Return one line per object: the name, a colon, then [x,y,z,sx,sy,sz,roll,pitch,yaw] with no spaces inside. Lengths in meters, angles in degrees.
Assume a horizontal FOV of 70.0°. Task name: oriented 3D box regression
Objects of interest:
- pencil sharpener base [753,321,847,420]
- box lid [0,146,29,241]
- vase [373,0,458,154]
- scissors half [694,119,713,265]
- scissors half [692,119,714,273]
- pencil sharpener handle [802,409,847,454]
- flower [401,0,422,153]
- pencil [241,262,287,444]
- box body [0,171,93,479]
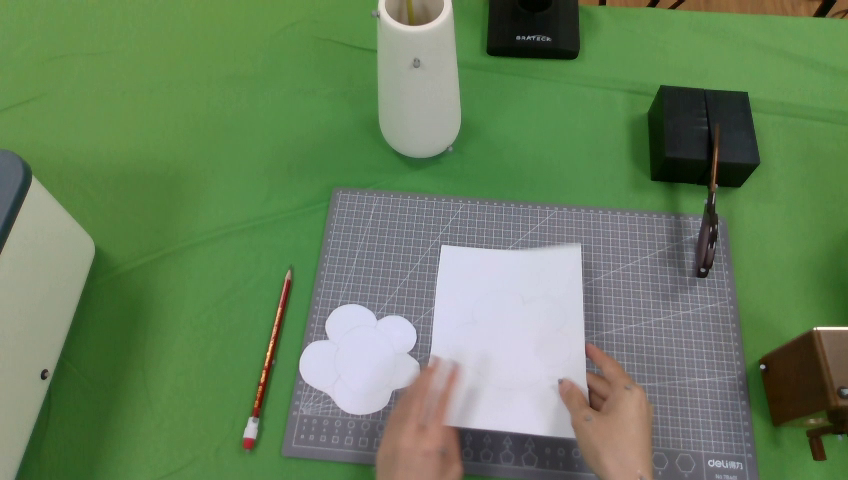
pencil sharpener base: [0.363,0.126,0.557,0.061,0.108,0.076,0,65,1]
box lid: [-0.496,0.070,0.475,0.263,0.015,0.368,5,64,2]
vase: [-0.011,-0.181,0.654,0.098,0.201,0.097,-1,63,2]
scissors half: [0.299,-0.056,0.638,0.013,0.040,0.174,8,65,15]
scissors half: [0.305,-0.049,0.657,0.012,0.040,0.174,7,83,21]
pencil sharpener handle: [0.359,0.167,0.524,0.036,0.068,0.030,6,64,-12]
flower: [-0.018,-0.230,0.585,0.044,0.365,0.038,-2,47,3]
pencil: [-0.161,0.110,0.623,0.012,0.012,0.192,5,63,3]
box body: [-0.495,0.104,0.542,0.254,0.161,0.361,4,65,3]
